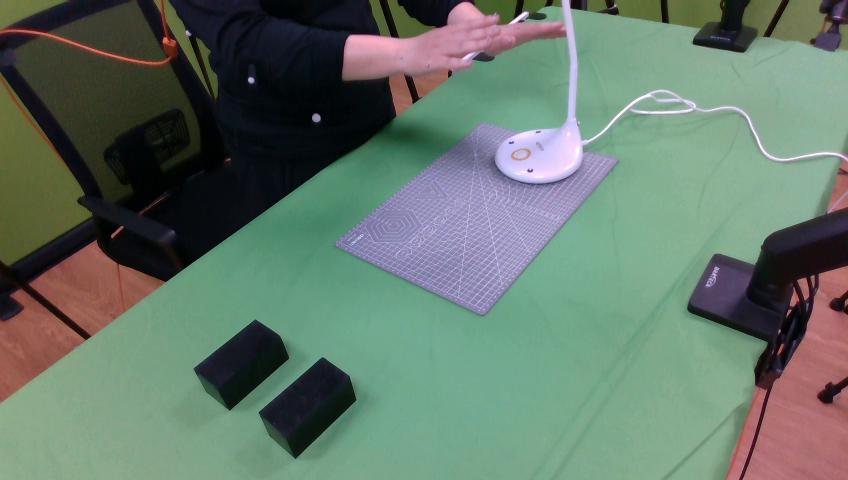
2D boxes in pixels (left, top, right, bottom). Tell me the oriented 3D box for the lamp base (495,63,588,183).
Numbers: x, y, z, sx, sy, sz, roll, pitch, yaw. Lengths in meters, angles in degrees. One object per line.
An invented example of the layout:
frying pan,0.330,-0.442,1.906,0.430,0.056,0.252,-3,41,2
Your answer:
lamp base,0.215,-0.217,1.067,0.180,0.181,0.159,-20,42,-18
